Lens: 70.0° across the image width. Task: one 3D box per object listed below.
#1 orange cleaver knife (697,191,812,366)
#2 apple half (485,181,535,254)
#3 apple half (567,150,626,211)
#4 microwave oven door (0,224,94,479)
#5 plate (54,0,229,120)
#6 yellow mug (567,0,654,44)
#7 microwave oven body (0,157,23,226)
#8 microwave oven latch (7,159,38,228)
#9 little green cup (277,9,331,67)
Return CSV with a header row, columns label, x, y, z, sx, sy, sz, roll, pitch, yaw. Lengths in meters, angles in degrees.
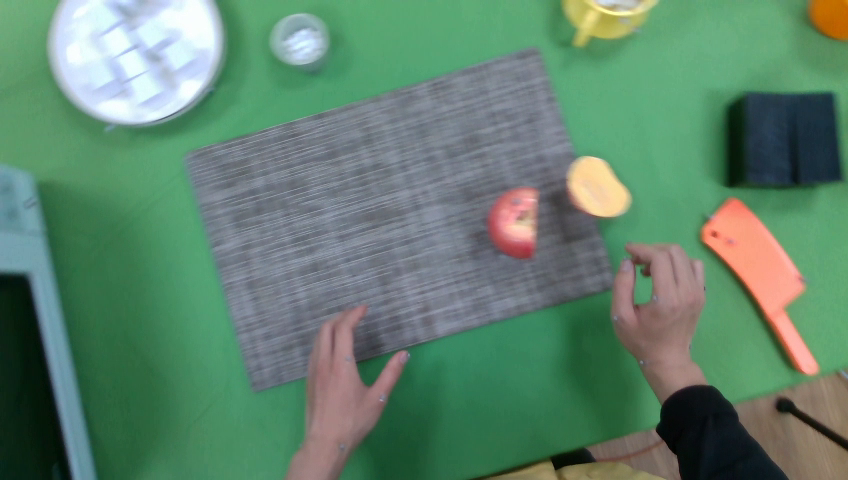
label,x,y,z,sx,sy,sz,roll,pitch,yaw
orange cleaver knife,0.396,0.043,0.700,0.077,0.012,0.211,-31,85,-6
apple half,0.096,-0.026,0.685,0.053,0.075,0.081,3,90,6
apple half,0.191,-0.062,0.700,0.082,0.033,0.080,11,63,-21
microwave oven door,-0.433,0.153,0.593,0.039,0.244,0.355,-14,86,1
plate,-0.335,-0.244,0.733,0.207,0.039,0.207,0,87,2
yellow mug,0.213,-0.286,0.702,0.100,0.064,0.131,31,89,3
microwave oven body,-0.584,0.147,0.604,0.326,0.260,0.441,-14,87,1
microwave oven latch,-0.478,-0.053,0.708,0.030,0.029,0.079,-13,87,1
little green cup,-0.141,-0.239,0.726,0.061,0.039,0.061,0,86,3
